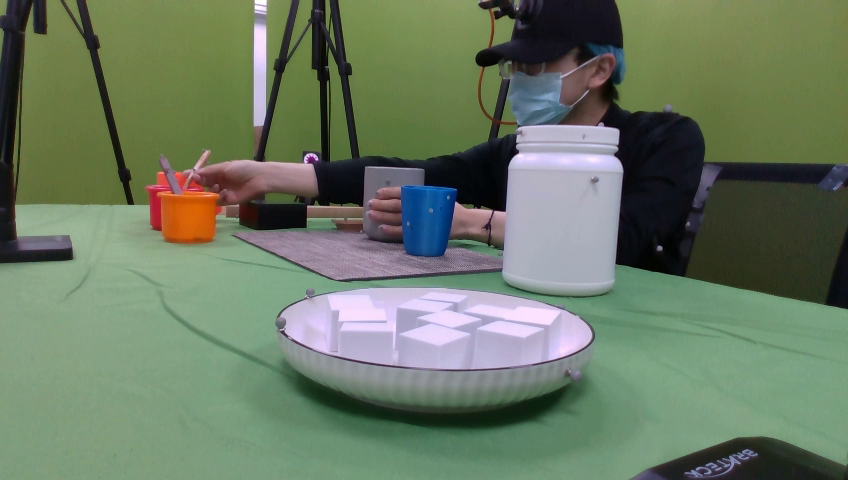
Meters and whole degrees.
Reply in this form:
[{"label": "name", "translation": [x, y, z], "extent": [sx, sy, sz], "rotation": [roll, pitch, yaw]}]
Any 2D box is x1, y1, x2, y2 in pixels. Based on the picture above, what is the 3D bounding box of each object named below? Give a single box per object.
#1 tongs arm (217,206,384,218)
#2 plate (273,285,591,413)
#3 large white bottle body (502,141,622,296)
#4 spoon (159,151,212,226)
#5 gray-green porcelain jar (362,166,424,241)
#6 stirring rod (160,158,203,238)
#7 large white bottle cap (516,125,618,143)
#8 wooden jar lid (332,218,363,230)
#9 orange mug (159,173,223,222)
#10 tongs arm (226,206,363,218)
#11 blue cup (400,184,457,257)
[{"label": "tongs arm", "translation": [-0.287, -0.066, 1.435], "extent": [0.389, 0.027, 0.028], "rotation": [-1, -3, -17]}, {"label": "plate", "translation": [0.004, 0.069, 0.407], "extent": [0.208, 0.039, 0.207], "rotation": [2, 7, 0]}, {"label": "large white bottle body", "translation": [0.161, -0.037, 0.706], "extent": [0.131, 0.184, 0.130], "rotation": [2, 7, 0]}, {"label": "spoon", "translation": [-0.436, -0.099, 1.123], "extent": [0.041, 0.193, 0.022], "rotation": [7, -34, 12]}, {"label": "gray-green porcelain jar", "translation": [-0.054, -0.064, 1.053], "extent": [0.106, 0.126, 0.106], "rotation": [2, 8, 0]}, {"label": "stirring rod", "translation": [-0.391, -0.070, 0.972], "extent": [0.014, 0.006, 0.175], "rotation": [-3, 51, -48]}, {"label": "large white bottle cap", "translation": [0.163, -0.120, 0.695], "extent": [0.115, 0.018, 0.115], "rotation": [2, 8, 0]}, {"label": "wooden jar lid", "translation": [-0.129, -0.032, 1.204], "extent": [0.108, 0.020, 0.108], "rotation": [0, 5, 0]}, {"label": "orange mug", "translation": [-0.477, -0.089, 1.241], "extent": [0.127, 0.101, 0.083], "rotation": [-7, 11, -32]}, {"label": "tongs arm", "translation": [-0.251, -0.063, 1.359], "extent": [0.387, 0.026, 0.050], "rotation": [-1, 1, -31]}, {"label": "blue cup", "translation": [0.003, -0.029, 0.901], "extent": [0.093, 0.100, 0.092], "rotation": [4, 8, 0]}]
